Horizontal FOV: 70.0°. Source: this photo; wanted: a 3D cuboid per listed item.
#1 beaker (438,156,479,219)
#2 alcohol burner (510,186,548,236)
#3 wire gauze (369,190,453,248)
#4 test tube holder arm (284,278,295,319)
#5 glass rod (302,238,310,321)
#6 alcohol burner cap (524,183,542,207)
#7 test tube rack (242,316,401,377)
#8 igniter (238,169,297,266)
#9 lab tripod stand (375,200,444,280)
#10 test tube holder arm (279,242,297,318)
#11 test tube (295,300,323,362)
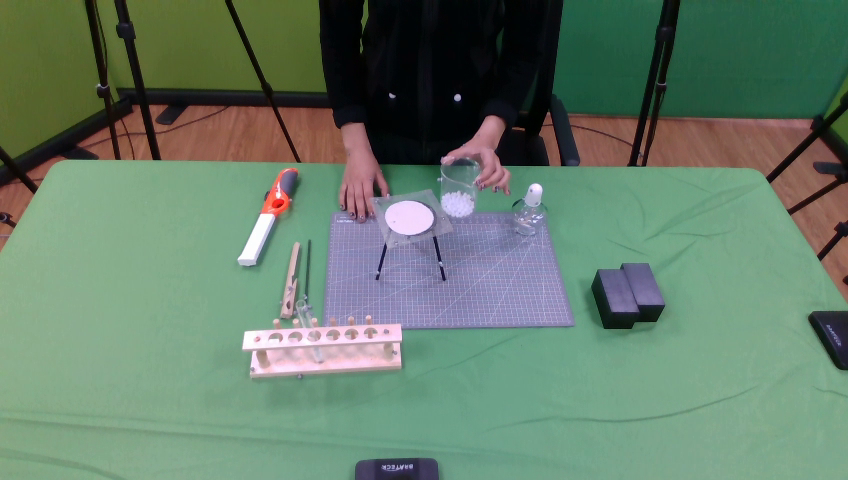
[{"bbox_3d":[0.065,-0.094,1.141,0.074,0.101,0.083,-18,50,-17],"label":"beaker"},{"bbox_3d":[0.213,-0.066,1.213,0.078,0.119,0.077,2,48,-2],"label":"alcohol burner"},{"bbox_3d":[-0.025,-0.042,1.064,0.121,0.011,0.124,-11,48,-17],"label":"wire gauze"},{"bbox_3d":[-0.241,0.103,1.085,0.010,0.015,0.087,25,39,-27],"label":"test tube holder arm"},{"bbox_3d":[-0.218,0.069,1.125,0.008,0.008,0.198,-2,47,-5],"label":"glass rod"},{"bbox_3d":[0.216,-0.090,1.186,0.034,0.048,0.033,1,55,-2],"label":"alcohol burner cap"},{"bbox_3d":[-0.161,0.166,0.983,0.242,0.085,0.066,-2,46,-6],"label":"test tube rack"},{"bbox_3d":[-0.313,-0.055,1.224,0.057,0.025,0.275,1,45,10],"label":"igniter"},{"bbox_3d":[-0.023,0.003,1.113,0.148,0.132,0.147,4,45,-3],"label":"lab tripod stand"},{"bbox_3d":[-0.248,0.069,1.114,0.013,0.015,0.177,25,39,-27],"label":"test tube holder arm"},{"bbox_3d":[-0.176,0.143,0.935,0.017,0.151,0.017,-2,46,2],"label":"test tube"}]
